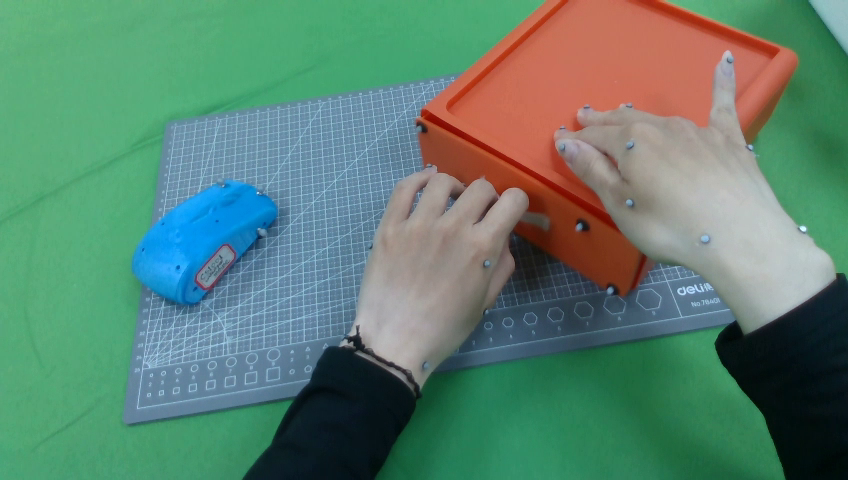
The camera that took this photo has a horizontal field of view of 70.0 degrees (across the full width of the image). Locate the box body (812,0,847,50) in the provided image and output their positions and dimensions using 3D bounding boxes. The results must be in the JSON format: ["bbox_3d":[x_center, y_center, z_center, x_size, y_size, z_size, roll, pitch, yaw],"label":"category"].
[{"bbox_3d":[0.490,-0.191,0.453,0.254,0.162,0.360,-9,57,1],"label":"box body"}]

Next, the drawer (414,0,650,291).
[{"bbox_3d":[0.133,-0.093,0.481,0.193,0.074,0.211,35,66,26],"label":"drawer"}]

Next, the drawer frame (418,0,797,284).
[{"bbox_3d":[0.139,-0.102,0.483,0.200,0.083,0.213,34,66,25],"label":"drawer frame"}]

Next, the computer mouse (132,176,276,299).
[{"bbox_3d":[-0.177,-0.009,0.487,0.062,0.041,0.117,26,59,24],"label":"computer mouse"}]
